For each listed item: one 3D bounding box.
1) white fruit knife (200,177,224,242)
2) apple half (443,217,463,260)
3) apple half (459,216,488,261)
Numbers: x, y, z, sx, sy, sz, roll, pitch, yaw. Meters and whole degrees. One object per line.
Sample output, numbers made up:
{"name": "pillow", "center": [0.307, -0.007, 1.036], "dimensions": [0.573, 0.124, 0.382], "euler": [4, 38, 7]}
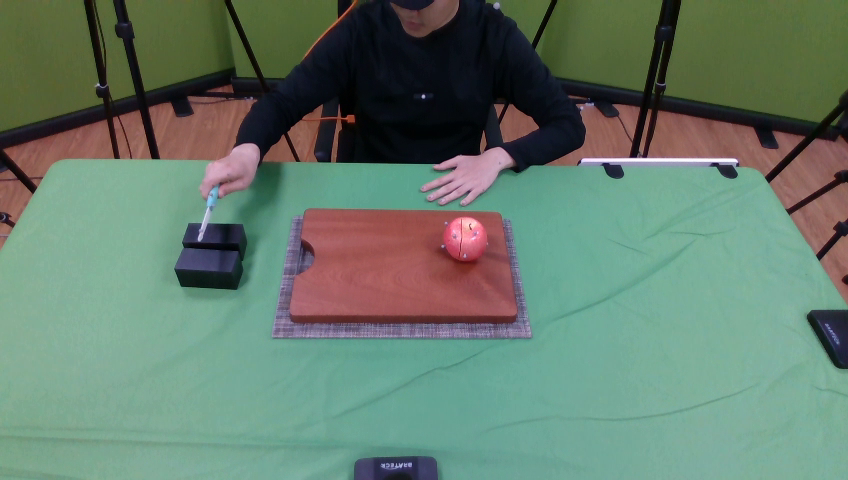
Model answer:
{"name": "white fruit knife", "center": [-0.383, -0.059, 1.091], "dimensions": [0.016, 0.027, 0.206], "euler": [-3, 36, -6]}
{"name": "apple half", "center": [0.051, -0.001, 1.123], "dimensions": [0.033, 0.081, 0.081], "euler": [3, 46, -3]}
{"name": "apple half", "center": [0.091, 0.000, 1.126], "dimensions": [0.053, 0.075, 0.080], "euler": [5, 42, -5]}
